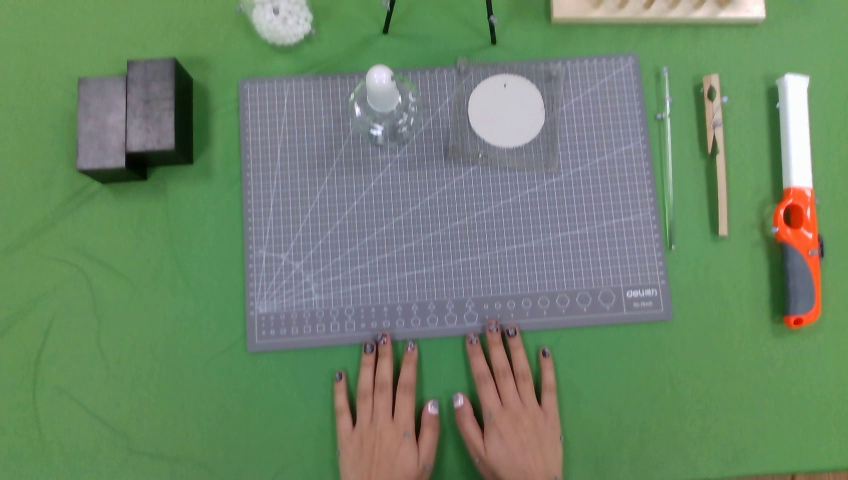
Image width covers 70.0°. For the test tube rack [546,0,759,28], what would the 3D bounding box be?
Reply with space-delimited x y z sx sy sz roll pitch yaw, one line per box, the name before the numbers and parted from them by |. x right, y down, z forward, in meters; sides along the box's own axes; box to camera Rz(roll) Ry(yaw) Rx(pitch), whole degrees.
test tube rack | 0.263 -0.287 0.666 0.242 0.085 0.066 -1 80 -1

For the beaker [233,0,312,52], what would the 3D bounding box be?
beaker | -0.165 -0.253 0.648 0.084 0.100 0.073 -12 80 -2

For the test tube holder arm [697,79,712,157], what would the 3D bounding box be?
test tube holder arm | 0.315 -0.136 0.678 0.010 0.015 0.087 -8 79 34

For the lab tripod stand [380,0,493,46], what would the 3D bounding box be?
lab tripod stand | 0.017 -0.273 0.636 0.148 0.132 0.148 0 82 0

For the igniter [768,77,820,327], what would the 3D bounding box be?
igniter | 0.400 -0.044 0.658 0.057 0.025 0.275 5 81 -11

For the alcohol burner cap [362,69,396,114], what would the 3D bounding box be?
alcohol burner cap | -0.044 -0.146 0.585 0.034 0.048 0.033 0 74 -1

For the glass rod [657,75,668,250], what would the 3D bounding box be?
glass rod | 0.265 -0.088 0.672 0.008 0.008 0.199 1 83 -1

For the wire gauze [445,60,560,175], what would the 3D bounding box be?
wire gauze | 0.089 -0.139 0.676 0.125 0.011 0.121 7 82 -1

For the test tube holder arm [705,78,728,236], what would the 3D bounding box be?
test tube holder arm | 0.322 -0.092 0.668 0.013 0.015 0.177 -9 79 33

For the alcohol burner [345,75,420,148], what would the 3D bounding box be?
alcohol burner | -0.044 -0.139 0.621 0.078 0.119 0.077 0 80 2
